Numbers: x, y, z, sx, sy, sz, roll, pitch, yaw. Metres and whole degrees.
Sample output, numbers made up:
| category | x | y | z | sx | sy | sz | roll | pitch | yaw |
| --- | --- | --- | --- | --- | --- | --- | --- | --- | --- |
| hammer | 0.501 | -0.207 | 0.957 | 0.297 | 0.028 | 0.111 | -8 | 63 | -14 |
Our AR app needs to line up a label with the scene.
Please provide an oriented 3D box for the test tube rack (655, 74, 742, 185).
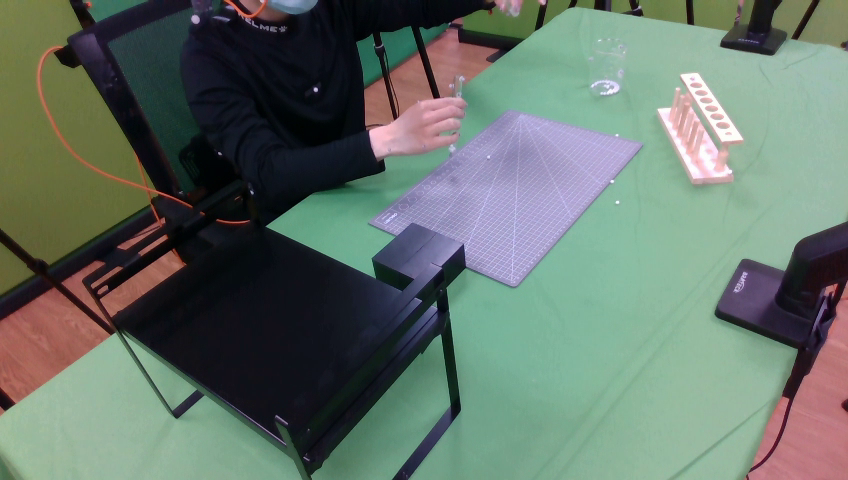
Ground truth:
| category | x | y | z | sx | sy | sz | roll | pitch | yaw |
| --- | --- | --- | --- | --- | --- | --- | --- | --- | --- |
| test tube rack | 0.488 | -0.205 | 1.093 | 0.067 | 0.085 | 0.241 | -3 | 41 | 5 |

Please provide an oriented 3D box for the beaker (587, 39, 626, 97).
| category | x | y | z | sx | sy | sz | roll | pitch | yaw |
| --- | --- | --- | --- | --- | --- | --- | --- | --- | --- |
| beaker | 0.386 | -0.361 | 1.280 | 0.074 | 0.101 | 0.083 | -22 | 43 | -15 |

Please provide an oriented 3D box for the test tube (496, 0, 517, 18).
| category | x | y | z | sx | sy | sz | roll | pitch | yaw |
| --- | --- | --- | --- | --- | --- | --- | --- | --- | --- |
| test tube | 0.141 | -0.412 | 1.054 | 0.017 | 0.017 | 0.151 | 10 | 8 | 19 |

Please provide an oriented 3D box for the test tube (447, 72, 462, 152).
| category | x | y | z | sx | sy | sz | roll | pitch | yaw |
| --- | --- | --- | --- | --- | --- | --- | --- | --- | --- |
| test tube | 0.053 | -0.223 | 1.067 | 0.017 | 0.150 | 0.017 | 3 | 36 | -2 |
